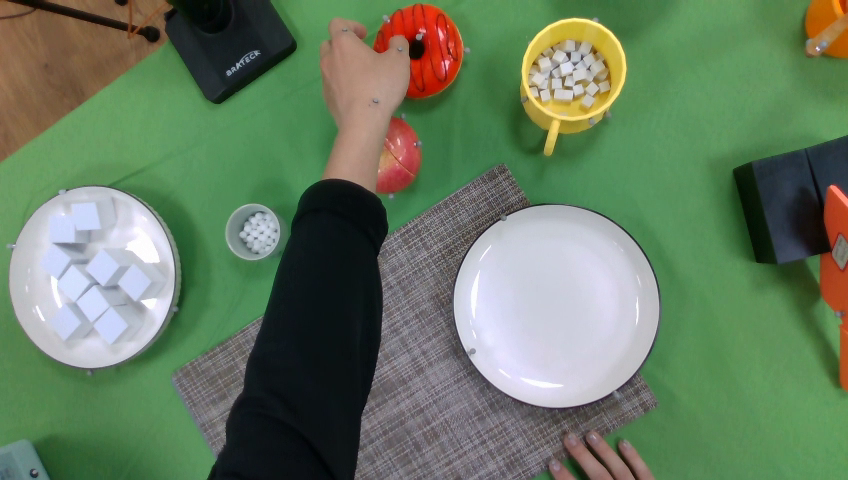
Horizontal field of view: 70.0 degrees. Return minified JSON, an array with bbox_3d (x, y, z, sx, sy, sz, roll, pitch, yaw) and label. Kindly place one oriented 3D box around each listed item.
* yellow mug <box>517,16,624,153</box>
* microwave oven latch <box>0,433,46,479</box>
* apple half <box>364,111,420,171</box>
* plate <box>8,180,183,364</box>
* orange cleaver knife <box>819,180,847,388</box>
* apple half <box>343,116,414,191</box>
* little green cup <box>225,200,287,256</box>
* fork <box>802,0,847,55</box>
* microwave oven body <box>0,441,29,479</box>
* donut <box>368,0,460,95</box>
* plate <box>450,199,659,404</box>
[{"bbox_3d":[0.142,-0.152,0.617,0.100,0.064,0.131,16,93,7],"label":"yellow mug"},{"bbox_3d":[-0.458,0.259,0.687,0.030,0.029,0.079,-25,87,6],"label":"microwave oven latch"},{"bbox_3d":[-0.025,-0.109,0.634,0.033,0.081,0.081,-42,84,10],"label":"apple half"},{"bbox_3d":[-0.370,0.036,0.696,0.207,0.039,0.207,0,89,8],"label":"plate"},{"bbox_3d":[0.394,0.046,0.574,0.012,0.076,0.213,-12,118,11],"label":"orange cleaver knife"},{"bbox_3d":[-0.054,-0.083,0.639,0.053,0.074,0.081,-41,88,9],"label":"apple half"},{"bbox_3d":[-0.183,-0.012,0.672,0.061,0.039,0.061,0,89,8],"label":"little green cup"},{"bbox_3d":[0.376,-0.201,0.544,0.207,0.018,0.028,-34,84,-38],"label":"fork"},{"bbox_3d":[-0.512,0.484,0.596,0.326,0.260,0.441,-29,86,6],"label":"microwave oven body"},{"bbox_3d":[-0.011,-0.204,0.648,0.099,0.048,0.099,0,92,8],"label":"donut"},{"bbox_3d":[0.132,0.062,0.627,0.209,0.038,0.209,0,90,8],"label":"plate"}]
